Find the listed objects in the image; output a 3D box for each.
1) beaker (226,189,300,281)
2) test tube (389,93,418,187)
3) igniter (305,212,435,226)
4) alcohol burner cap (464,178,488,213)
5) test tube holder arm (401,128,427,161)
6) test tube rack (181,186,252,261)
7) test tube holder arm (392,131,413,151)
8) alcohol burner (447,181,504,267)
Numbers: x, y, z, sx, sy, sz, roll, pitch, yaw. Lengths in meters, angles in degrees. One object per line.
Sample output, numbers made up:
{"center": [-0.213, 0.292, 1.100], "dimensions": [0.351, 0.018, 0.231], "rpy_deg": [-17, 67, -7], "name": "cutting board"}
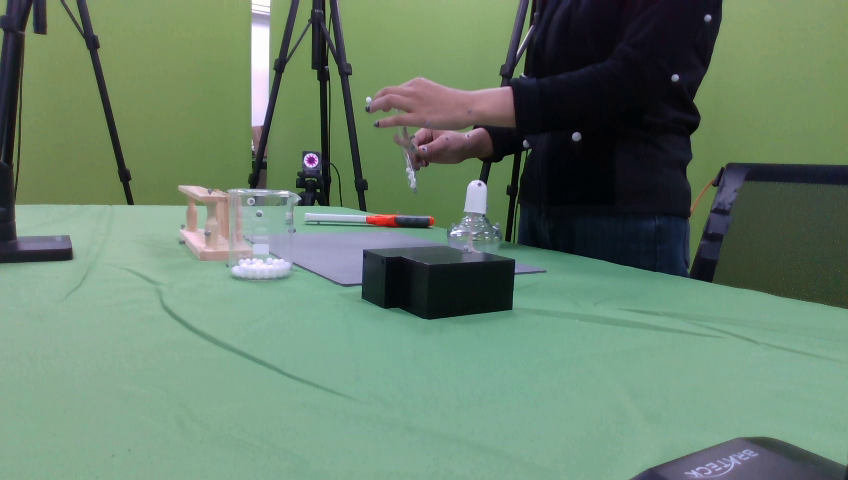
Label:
{"center": [-0.184, -0.007, 0.694], "dimensions": [0.084, 0.100, 0.073], "rpy_deg": [-1, 8, -29], "name": "beaker"}
{"center": [-0.031, -0.157, 0.947], "dimensions": [0.017, 0.150, 0.017], "rpy_deg": [-13, -2, 0], "name": "test tube"}
{"center": [-0.114, -0.046, 1.296], "dimensions": [0.277, 0.025, 0.057], "rpy_deg": [1, -2, -11], "name": "igniter"}
{"center": [0.073, -0.060, 0.824], "dimensions": [0.034, 0.048, 0.034], "rpy_deg": [6, 3, 0], "name": "alcohol burner cap"}
{"center": [-0.014, -0.156, 1.013], "dimensions": [0.013, 0.015, 0.179], "rpy_deg": [-12, -7, 11], "name": "test tube holder arm"}
{"center": [-0.312, -0.031, 0.893], "dimensions": [0.067, 0.085, 0.241], "rpy_deg": [-1, 8, -27], "name": "test tube rack"}
{"center": [-0.030, -0.158, 0.971], "dimensions": [0.010, 0.015, 0.088], "rpy_deg": [-13, -7, 18], "name": "test tube holder arm"}
{"center": [0.070, -0.024, 0.828], "dimensions": [0.078, 0.119, 0.078], "rpy_deg": [0, 6, 0], "name": "alcohol burner"}
